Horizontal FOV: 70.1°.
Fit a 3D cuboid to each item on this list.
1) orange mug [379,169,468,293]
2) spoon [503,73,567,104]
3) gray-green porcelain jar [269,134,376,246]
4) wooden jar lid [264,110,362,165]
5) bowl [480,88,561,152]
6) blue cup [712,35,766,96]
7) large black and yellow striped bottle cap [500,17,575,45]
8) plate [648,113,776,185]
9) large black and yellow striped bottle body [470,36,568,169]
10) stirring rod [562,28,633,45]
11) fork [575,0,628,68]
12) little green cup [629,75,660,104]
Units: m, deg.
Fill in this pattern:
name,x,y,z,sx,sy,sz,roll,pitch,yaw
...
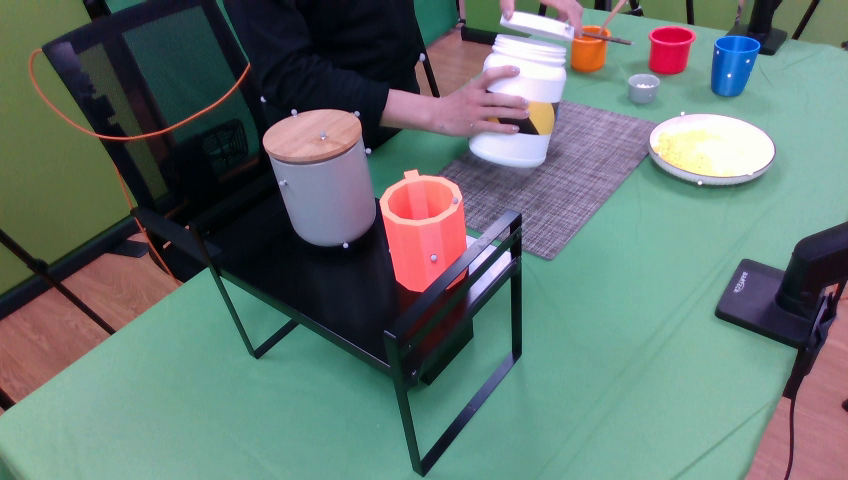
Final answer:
name,x,y,z,sx,sy,sz,roll,pitch,yaw
orange mug,-0.002,-0.019,0.665,0.083,0.101,0.125,-12,45,-4
spoon,0.250,-0.336,1.332,0.194,0.022,0.041,-32,32,-25
gray-green porcelain jar,-0.115,-0.064,0.715,0.106,0.127,0.105,-4,40,4
wooden jar lid,-0.122,-0.112,0.673,0.108,0.021,0.108,-4,37,4
bowl,0.185,-0.222,1.160,0.151,0.077,0.150,-5,40,4
blue cup,0.627,-0.350,1.227,0.092,0.100,0.092,-4,39,4
large black and yellow striped bottle cap,0.173,-0.319,0.923,0.115,0.019,0.114,11,19,-4
plate,0.506,-0.158,1.073,0.209,0.038,0.208,-5,40,4
large black and yellow striped bottle body,0.152,-0.220,0.961,0.131,0.184,0.130,9,25,-4
stirring rod,0.382,-0.453,1.345,0.174,0.006,0.014,26,52,34
fork,0.413,-0.481,1.377,0.207,0.019,0.028,-56,43,12
little green cup,0.457,-0.314,1.260,0.061,0.039,0.061,-4,40,4
